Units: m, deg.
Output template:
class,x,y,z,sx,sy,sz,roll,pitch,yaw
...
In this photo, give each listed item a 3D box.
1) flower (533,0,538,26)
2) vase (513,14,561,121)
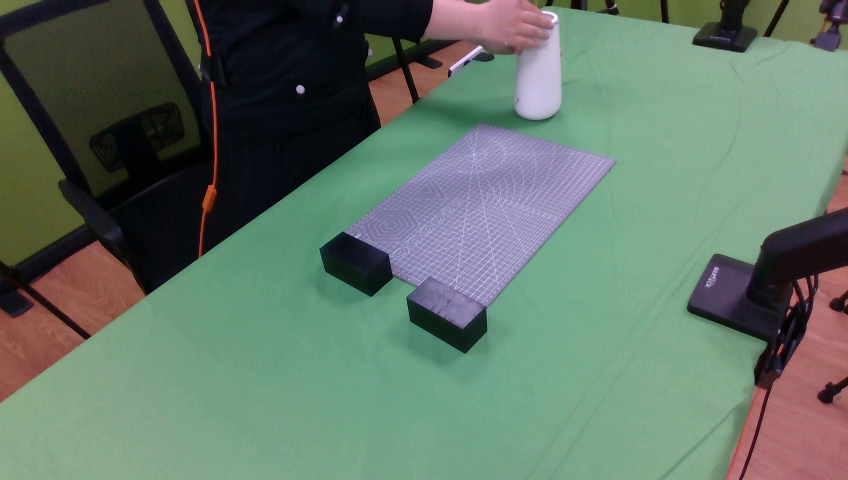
class,x,y,z,sx,sy,sz,roll,pitch,yaw
flower,0.211,-0.388,1.132,0.038,0.364,0.044,-10,55,8
vase,0.225,-0.337,1.197,0.098,0.201,0.097,-5,42,5
